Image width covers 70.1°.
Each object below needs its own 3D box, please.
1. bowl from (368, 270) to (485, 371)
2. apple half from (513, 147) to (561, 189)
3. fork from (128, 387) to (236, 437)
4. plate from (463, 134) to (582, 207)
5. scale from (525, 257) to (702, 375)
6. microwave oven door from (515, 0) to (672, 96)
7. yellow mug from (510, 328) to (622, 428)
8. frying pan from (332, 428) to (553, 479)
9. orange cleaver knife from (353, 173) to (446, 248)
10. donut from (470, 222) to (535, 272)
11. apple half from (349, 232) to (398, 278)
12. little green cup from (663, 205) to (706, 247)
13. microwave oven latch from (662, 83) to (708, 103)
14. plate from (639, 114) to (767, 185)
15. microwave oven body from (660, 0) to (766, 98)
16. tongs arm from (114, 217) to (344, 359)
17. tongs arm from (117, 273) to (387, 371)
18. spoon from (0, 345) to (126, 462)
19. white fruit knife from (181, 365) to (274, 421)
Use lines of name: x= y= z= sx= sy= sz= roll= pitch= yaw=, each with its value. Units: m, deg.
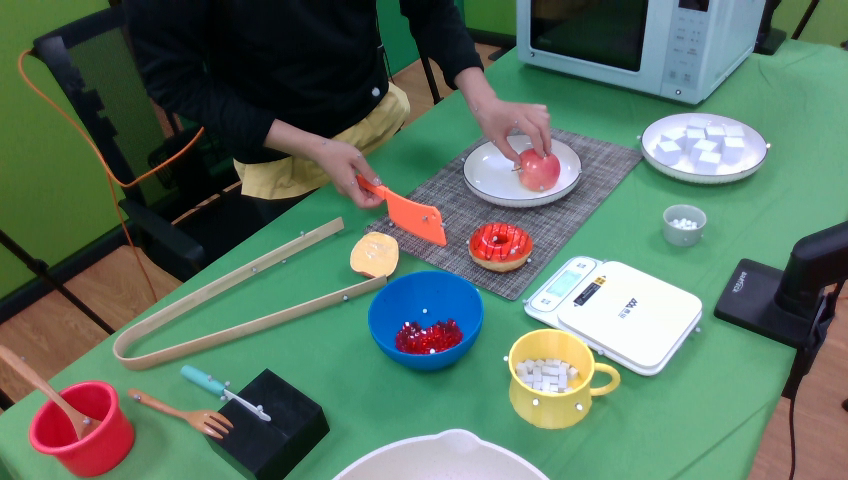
bowl: x=0.007 y=0.118 z=0.791 sx=0.151 sy=0.077 sz=0.150 roll=-5 pitch=40 yaw=4
apple half: x=0.200 y=-0.131 z=1.045 sx=0.075 sy=0.053 sz=0.080 roll=8 pitch=39 yaw=-14
fork: x=-0.305 y=0.207 z=0.744 sx=0.206 sy=0.019 sz=0.028 roll=3 pitch=41 yaw=36
plate: x=0.173 y=-0.119 z=1.070 sx=0.209 sy=0.038 sz=0.208 roll=-4 pitch=40 yaw=4
scale: x=0.254 y=0.091 z=0.821 sx=0.199 sy=0.032 sz=0.149 roll=28 pitch=51 yaw=35
microwave oven door: x=0.343 y=-0.455 z=1.259 sx=0.353 sy=0.245 sz=0.039 roll=26 pitch=51 yaw=33
yellow mug: x=0.169 y=0.164 z=0.722 sx=0.130 sy=0.064 sz=0.099 roll=0 pitch=40 yaw=8
frying pan: x=-0.089 y=0.306 z=0.564 sx=0.487 sy=0.103 sz=0.306 roll=10 pitch=41 yaw=7
orange cleaver knife: x=-0.042 y=-0.051 z=0.994 sx=0.209 sy=0.077 sz=0.012 roll=30 pitch=45 yaw=34
donut: x=0.119 y=0.009 z=0.923 sx=0.099 sy=0.048 sz=0.098 roll=-4 pitch=38 yaw=3
apple half: x=-0.073 y=0.028 z=0.938 sx=0.081 sy=0.033 sz=0.081 roll=-3 pitch=68 yaw=8
little green cup: x=0.396 y=-0.020 z=0.926 sx=0.061 sy=0.039 sz=0.061 roll=-4 pitch=40 yaw=4
microwave oven latch: x=0.517 y=-0.296 z=1.204 sx=0.078 sy=0.029 sz=0.030 roll=28 pitch=52 yaw=35
plate: x=0.489 y=-0.157 z=1.074 sx=0.207 sy=0.039 sz=0.206 roll=-4 pitch=40 yaw=4
microwave oven body: x=0.472 y=-0.513 z=1.317 sx=0.438 sy=0.261 sz=0.327 roll=26 pitch=51 yaw=34
tongs arm: x=-0.280 y=0.068 z=0.927 sx=0.386 sy=0.026 sz=0.050 roll=-29 pitch=49 yaw=-22
tongs arm: x=-0.237 y=0.115 z=0.870 sx=0.389 sy=0.028 sz=0.028 roll=-18 pitch=49 yaw=-12
spoon: x=-0.434 y=0.192 z=0.720 sx=0.194 sy=0.021 sz=0.042 roll=47 pitch=53 yaw=-7
white fruit knife: x=-0.245 y=0.187 z=0.747 sx=0.205 sy=0.027 sz=0.016 roll=9 pitch=41 yaw=40
